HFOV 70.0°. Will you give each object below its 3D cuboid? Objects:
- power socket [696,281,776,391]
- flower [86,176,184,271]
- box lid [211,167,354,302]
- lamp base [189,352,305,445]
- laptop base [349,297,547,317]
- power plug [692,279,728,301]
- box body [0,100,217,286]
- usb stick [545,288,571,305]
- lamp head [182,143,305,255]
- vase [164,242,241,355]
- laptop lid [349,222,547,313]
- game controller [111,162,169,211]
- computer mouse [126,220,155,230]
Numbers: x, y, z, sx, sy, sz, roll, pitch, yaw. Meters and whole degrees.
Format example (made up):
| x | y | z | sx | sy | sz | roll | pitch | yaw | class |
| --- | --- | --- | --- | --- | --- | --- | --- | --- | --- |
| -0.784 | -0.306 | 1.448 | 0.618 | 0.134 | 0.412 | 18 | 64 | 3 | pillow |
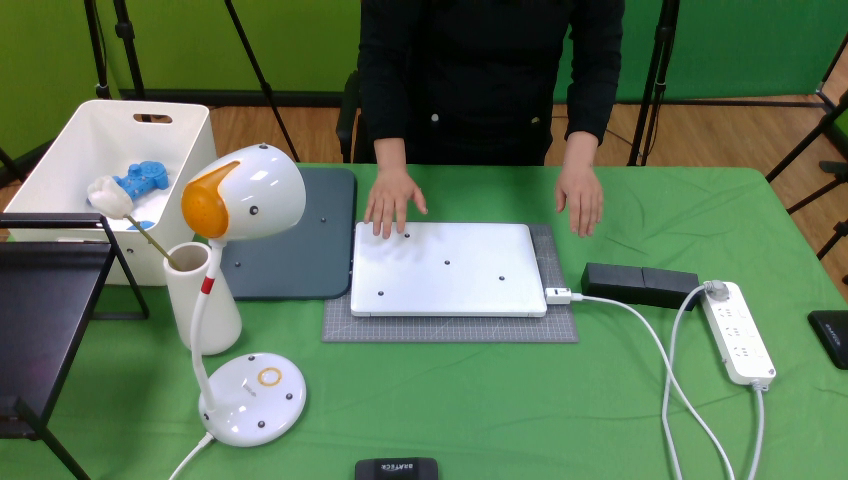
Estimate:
| x | y | z | sx | sy | sz | roll | pitch | yaw | class |
| --- | --- | --- | --- | --- | --- | --- | --- | --- | --- |
| 0.550 | 0.160 | 1.078 | 0.072 | 0.033 | 0.225 | 2 | 46 | -1 | power socket |
| -0.365 | 0.038 | 0.894 | 0.038 | 0.364 | 0.044 | -4 | 53 | 15 | flower |
| -0.276 | -0.024 | 1.205 | 0.263 | 0.015 | 0.369 | 0 | 46 | -4 | box lid |
| -0.268 | 0.196 | 0.876 | 0.160 | 0.181 | 0.179 | 26 | 52 | 20 | lamp base |
| 0.041 | 0.055 | 1.148 | 0.355 | 0.023 | 0.234 | 1 | 42 | -4 | laptop base |
| 0.522 | 0.092 | 1.115 | 0.072 | 0.053 | 0.035 | 9 | 46 | 7 | power plug |
| -0.559 | -0.092 | 1.145 | 0.254 | 0.161 | 0.361 | 3 | 46 | -2 | box body |
| 0.236 | 0.103 | 1.101 | 0.059 | 0.027 | 0.021 | -2 | 45 | 1 | usb stick |
| -0.216 | -0.044 | 0.697 | 0.112 | 0.113 | 0.123 | 23 | 31 | 17 | lamp head |
| -0.349 | 0.096 | 0.954 | 0.098 | 0.201 | 0.097 | 3 | 47 | -3 | vase |
| 0.041 | 0.046 | 1.143 | 0.357 | 0.013 | 0.240 | 2 | 44 | -3 | laptop lid |
| -0.597 | -0.113 | 1.234 | 0.097 | 0.052 | 0.155 | 29 | 51 | 20 | game controller |
| -0.537 | 0.008 | 1.127 | 0.062 | 0.041 | 0.117 | 32 | 56 | 20 | computer mouse |
